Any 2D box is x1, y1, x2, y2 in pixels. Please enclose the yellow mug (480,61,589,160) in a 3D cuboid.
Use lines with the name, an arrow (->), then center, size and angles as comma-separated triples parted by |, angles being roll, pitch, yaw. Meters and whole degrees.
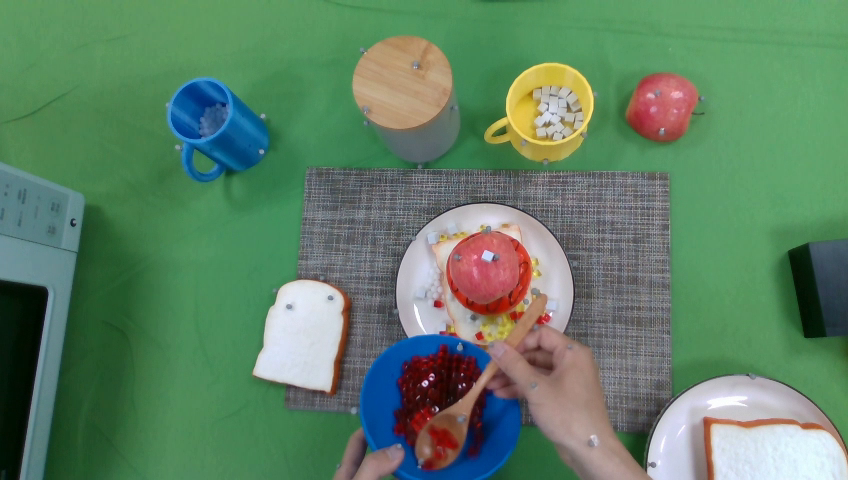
yellow mug -> 0.129, -0.147, 0.725 | 0.131, 0.064, 0.099 | -21, 78, 5

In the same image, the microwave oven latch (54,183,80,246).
microwave oven latch -> -0.468, -0.033, 0.780 | 0.030, 0.029, 0.079 | 6, 82, 8

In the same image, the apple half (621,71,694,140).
apple half -> 0.277, -0.165, 0.715 | 0.074, 0.053, 0.080 | 24, 85, 14

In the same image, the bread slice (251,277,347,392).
bread slice -> -0.151, 0.111, 0.740 | 0.104, 0.019, 0.131 | 9, 83, 8

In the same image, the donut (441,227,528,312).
donut -> 0.068, 0.033, 0.684 | 0.099, 0.048, 0.098 | -1, 81, 8

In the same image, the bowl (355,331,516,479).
bowl -> 0.006, 0.171, 0.581 | 0.152, 0.077, 0.150 | 6, 49, -7

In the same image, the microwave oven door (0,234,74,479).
microwave oven door -> -0.496, 0.165, 0.646 | 0.039, 0.245, 0.354 | 2, 80, 9

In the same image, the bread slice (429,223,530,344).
bread slice -> 0.073, 0.053, 0.711 | 0.107, 0.018, 0.133 | -15, 77, 5

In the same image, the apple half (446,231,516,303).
apple half -> 0.061, 0.027, 0.649 | 0.081, 0.033, 0.081 | -3, 76, 14

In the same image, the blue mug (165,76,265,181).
blue mug -> -0.264, -0.129, 0.753 | 0.082, 0.106, 0.116 | 22, 84, 11

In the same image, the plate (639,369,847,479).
plate -> 0.334, 0.242, 0.644 | 0.209, 0.038, 0.208 | -1, 80, 8

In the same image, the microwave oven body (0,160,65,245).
microwave oven body -> -0.637, 0.119, 0.678 | 0.325, 0.261, 0.440 | 2, 81, 8

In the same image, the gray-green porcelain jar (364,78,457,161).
gray-green porcelain jar -> -0.016, -0.157, 0.715 | 0.106, 0.127, 0.105 | -1, 79, 8

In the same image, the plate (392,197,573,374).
plate -> 0.067, 0.054, 0.709 | 0.207, 0.039, 0.207 | -1, 80, 8

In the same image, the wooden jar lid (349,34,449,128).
wooden jar lid -> -0.026, -0.169, 0.653 | 0.108, 0.021, 0.108 | -1, 78, 5

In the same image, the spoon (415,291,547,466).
spoon -> 0.055, 0.127, 0.555 | 0.041, 0.022, 0.194 | 38, 101, 20
